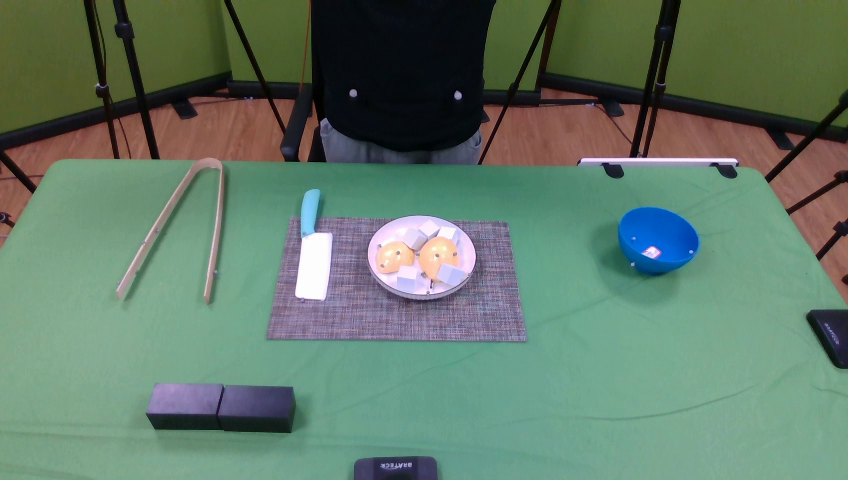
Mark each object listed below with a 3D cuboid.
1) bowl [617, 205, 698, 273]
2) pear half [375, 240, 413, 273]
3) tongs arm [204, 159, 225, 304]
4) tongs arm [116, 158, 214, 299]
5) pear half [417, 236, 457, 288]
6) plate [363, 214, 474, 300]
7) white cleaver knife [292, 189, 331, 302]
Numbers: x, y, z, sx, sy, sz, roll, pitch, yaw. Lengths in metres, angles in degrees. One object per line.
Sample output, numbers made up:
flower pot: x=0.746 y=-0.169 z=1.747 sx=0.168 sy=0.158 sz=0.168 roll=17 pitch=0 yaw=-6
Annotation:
bowl: x=0.444 y=0.011 z=1.181 sx=0.151 sy=0.077 sz=0.150 roll=2 pitch=46 yaw=-2
pear half: x=-0.059 y=0.026 z=1.145 sx=0.070 sy=0.031 sz=0.088 roll=22 pitch=43 yaw=21
tongs arm: x=-0.415 y=-0.032 z=1.192 sx=0.028 sy=0.028 sz=0.385 roll=-6 pitch=47 yaw=-7
tongs arm: x=-0.495 y=-0.037 z=1.184 sx=0.051 sy=0.026 sz=0.382 roll=6 pitch=45 yaw=0
pear half: x=0.022 y=0.039 z=1.127 sx=0.076 sy=0.056 sz=0.109 roll=5 pitch=50 yaw=7
plate: x=-0.010 y=0.036 z=1.146 sx=0.208 sy=0.039 sz=0.206 roll=2 pitch=46 yaw=-2
white cleaver knife: x=-0.215 y=0.006 z=1.178 sx=0.066 sy=0.021 sz=0.284 roll=5 pitch=49 yaw=-11
